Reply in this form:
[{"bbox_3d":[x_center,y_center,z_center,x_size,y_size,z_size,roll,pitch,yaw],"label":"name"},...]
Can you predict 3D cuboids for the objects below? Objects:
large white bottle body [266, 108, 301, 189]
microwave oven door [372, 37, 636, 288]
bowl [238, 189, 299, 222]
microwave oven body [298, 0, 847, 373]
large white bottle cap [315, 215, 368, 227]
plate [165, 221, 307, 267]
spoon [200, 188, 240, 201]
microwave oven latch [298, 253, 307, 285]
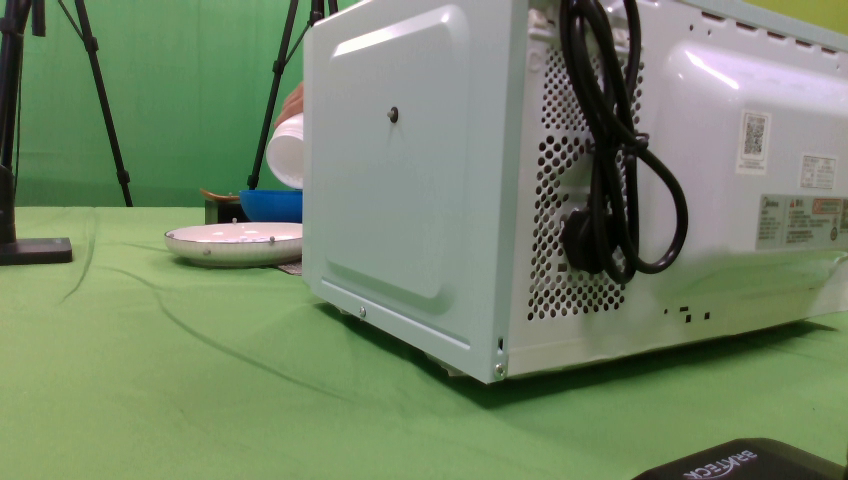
[{"bbox_3d":[-0.208,-0.186,1.151,0.130,0.131,0.185,5,34,18],"label":"large white bottle body"},{"bbox_3d":[0.110,-0.080,0.686,0.358,0.243,0.039,-2,9,-33],"label":"microwave oven door"},{"bbox_3d":[-0.245,-0.046,1.052,0.151,0.077,0.151,2,8,0],"label":"bowl"},{"bbox_3d":[0.151,-0.055,0.542,0.444,0.260,0.324,-2,7,-33],"label":"microwave oven body"},{"bbox_3d":[-0.177,-0.041,1.309,0.115,0.018,0.115,2,6,0],"label":"large white bottle cap"},{"bbox_3d":[-0.241,0.004,0.829,0.209,0.038,0.209,0,9,0],"label":"plate"},{"bbox_3d":[-0.338,-0.080,1.190,0.194,0.021,0.041,5,3,-19],"label":"spoon"},{"bbox_3d":[-0.081,0.027,0.582,0.079,0.029,0.030,-1,7,-32],"label":"microwave oven latch"}]
